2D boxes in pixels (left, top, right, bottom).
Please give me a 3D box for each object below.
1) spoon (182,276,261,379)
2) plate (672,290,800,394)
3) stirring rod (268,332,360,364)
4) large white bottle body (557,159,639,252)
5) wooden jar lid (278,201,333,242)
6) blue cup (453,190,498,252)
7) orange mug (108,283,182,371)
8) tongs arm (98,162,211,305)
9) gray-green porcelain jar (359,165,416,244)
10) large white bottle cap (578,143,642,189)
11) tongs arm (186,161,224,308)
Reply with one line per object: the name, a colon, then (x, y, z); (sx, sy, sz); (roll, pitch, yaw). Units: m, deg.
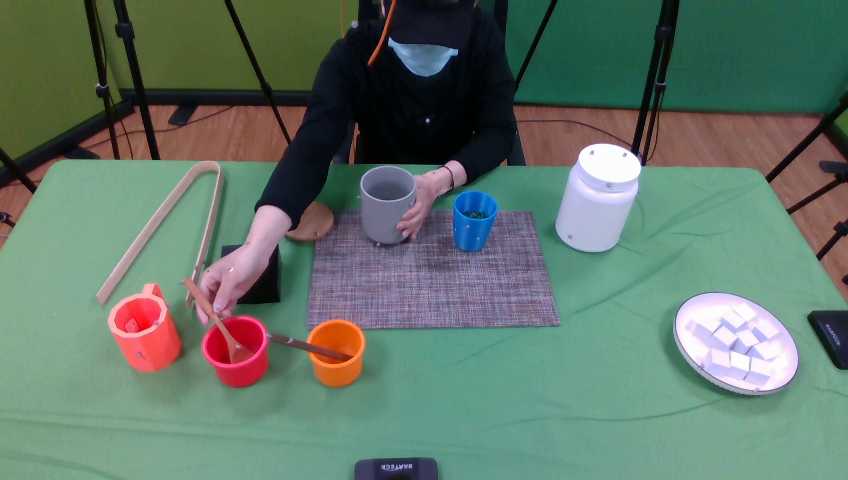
spoon: (-0.321, 0.137, 0.957); (0.041, 0.021, 0.194); (-36, 102, -32)
plate: (0.533, 0.179, 1.050); (0.208, 0.039, 0.206); (2, 46, -2)
stirring rod: (-0.167, 0.169, 0.942); (0.177, 0.006, 0.014); (26, 28, -41)
large white bottle body: (0.340, -0.081, 1.185); (0.131, 0.185, 0.130); (2, 46, -1)
wooden jar lid: (-0.236, -0.036, 1.213); (0.108, 0.021, 0.107); (0, 47, 0)
blue cup: (0.094, -0.031, 1.173); (0.093, 0.101, 0.092); (3, 45, -3)
orange mug: (-0.445, 0.134, 0.982); (0.083, 0.101, 0.125); (-1, 50, -5)
tongs arm: (-0.519, -0.028, 1.184); (0.028, 0.028, 0.385); (5, 46, 13)
gray-green porcelain jar: (-0.071, -0.064, 1.175); (0.106, 0.127, 0.105); (2, 46, -2)
large white bottle cap: (0.344, -0.139, 1.123); (0.115, 0.018, 0.114); (2, 46, -2)
tongs arm: (-0.435, -0.025, 1.180); (0.051, 0.027, 0.382); (-3, 46, 0)
